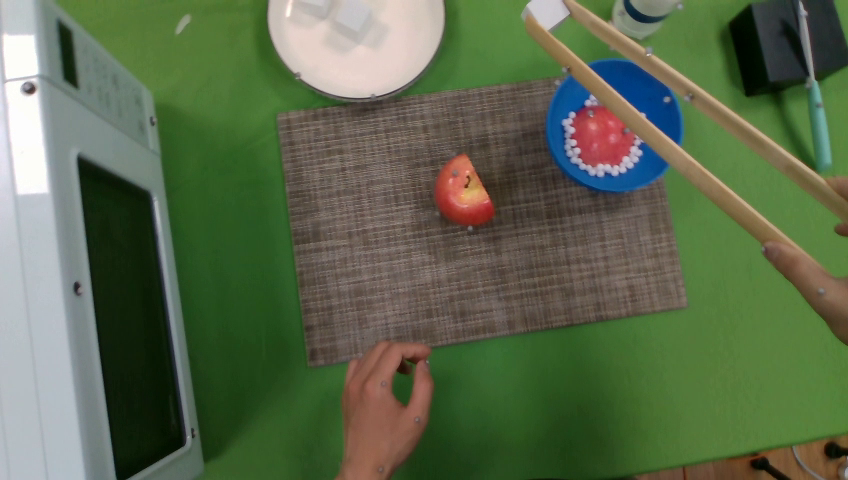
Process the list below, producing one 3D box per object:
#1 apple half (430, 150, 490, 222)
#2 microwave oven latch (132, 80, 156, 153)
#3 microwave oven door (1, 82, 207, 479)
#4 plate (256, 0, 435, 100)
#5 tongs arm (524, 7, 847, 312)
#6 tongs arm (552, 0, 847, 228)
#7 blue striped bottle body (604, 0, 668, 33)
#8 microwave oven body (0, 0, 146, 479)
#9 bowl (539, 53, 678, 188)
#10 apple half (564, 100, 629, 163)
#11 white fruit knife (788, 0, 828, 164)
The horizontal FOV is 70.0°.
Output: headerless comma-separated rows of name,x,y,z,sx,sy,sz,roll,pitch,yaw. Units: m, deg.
apple half,0.034,-0.054,0.684,0.053,0.074,0.081,-29,89,-1
microwave oven latch,-0.324,-0.136,0.680,0.030,0.029,0.079,-11,85,-4
microwave oven door,-0.282,0.066,0.559,0.039,0.244,0.355,-11,84,-3
plate,-0.091,-0.264,0.722,0.208,0.039,0.207,0,84,-3
tongs arm,0.207,-0.079,0.494,0.028,0.028,0.384,-34,64,-9
tongs arm,0.225,-0.093,0.496,0.051,0.027,0.381,-40,65,-8
blue striped bottle body,0.256,-0.294,0.697,0.063,0.121,0.063,0,83,-2
microwave oven body,-0.434,0.052,0.559,0.326,0.260,0.440,-11,85,-4
bowl,0.200,-0.127,0.696,0.151,0.077,0.151,0,84,-2
apple half,0.202,-0.127,0.691,0.081,0.033,0.081,0,82,-2
white fruit knife,0.449,-0.188,0.712,0.016,0.027,0.208,-15,102,14
